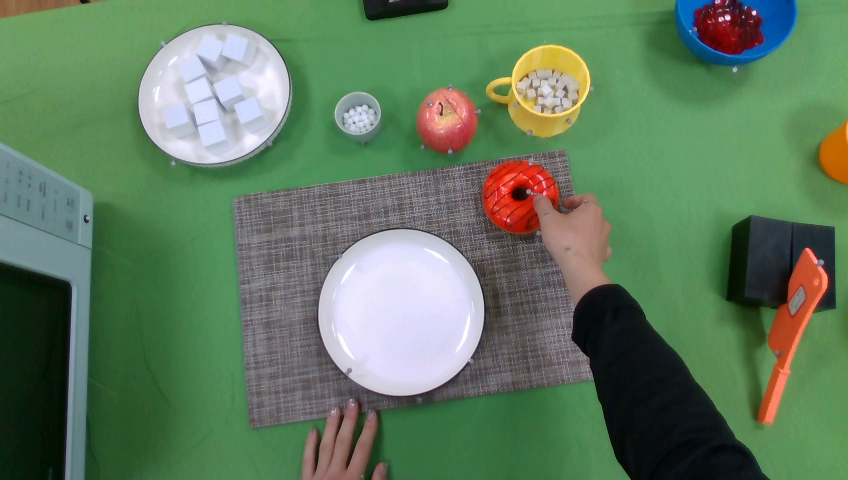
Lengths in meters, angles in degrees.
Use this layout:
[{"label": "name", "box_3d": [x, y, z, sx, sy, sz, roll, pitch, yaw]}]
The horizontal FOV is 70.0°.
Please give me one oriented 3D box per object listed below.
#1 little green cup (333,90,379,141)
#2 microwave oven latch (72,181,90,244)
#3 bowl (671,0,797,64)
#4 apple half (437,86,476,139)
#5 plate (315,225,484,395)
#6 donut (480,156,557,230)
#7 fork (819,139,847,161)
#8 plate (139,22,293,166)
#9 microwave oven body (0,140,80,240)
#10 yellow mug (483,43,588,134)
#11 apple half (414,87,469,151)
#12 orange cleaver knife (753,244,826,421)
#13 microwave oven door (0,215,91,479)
[{"label": "little green cup", "box_3d": [-0.089, -0.165, 0.815, 0.061, 0.039, 0.061, -1, 77, 3]}, {"label": "microwave oven latch", "box_3d": [-0.449, -0.034, 0.780, 0.030, 0.029, 0.079, -4, 78, 1]}, {"label": "bowl", "box_3d": [0.396, -0.292, 0.804, 0.151, 0.077, 0.150, -1, 78, 3]}, {"label": "apple half", "box_3d": [0.048, -0.171, 0.792, 0.033, 0.081, 0.081, -35, 78, -1]}, {"label": "plate", "box_3d": [-0.029, 0.086, 0.753, 0.209, 0.038, 0.208, 0, 78, 2]}, {"label": "donut", "box_3d": [0.120, -0.060, 0.776, 0.099, 0.048, 0.098, -1, 78, 4]}, {"label": "fork", "box_3d": [0.593, -0.127, 0.723, 0.206, 0.019, 0.028, -12, 69, 45]}, {"label": "plate", "box_3d": [-0.280, -0.196, 0.829, 0.207, 0.039, 0.206, 0, 77, 2]}, {"label": "microwave oven body", "box_3d": [-0.586, 0.129, 0.650, 0.326, 0.261, 0.439, -5, 78, 1]}, {"label": "yellow mug", "box_3d": [0.144, -0.198, 0.799, 0.131, 0.064, 0.099, 2, 77, 4]}, {"label": "apple half", "box_3d": [0.016, -0.149, 0.790, 0.053, 0.075, 0.080, -35, 82, -1]}, {"label": "orange cleaver knife", "box_3d": [0.420, 0.110, 0.709, 0.012, 0.077, 0.212, 11, 110, 7]}, {"label": "microwave oven door", "box_3d": [-0.437, 0.155, 0.634, 0.039, 0.245, 0.354, -6, 77, 1]}]
